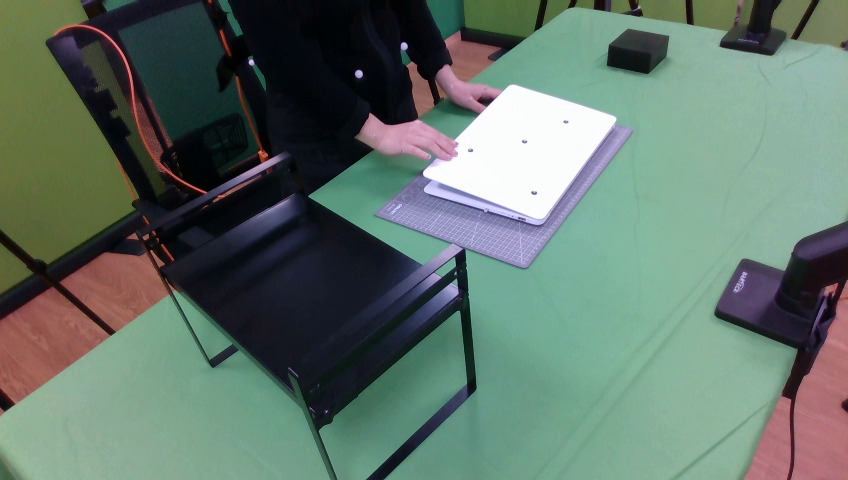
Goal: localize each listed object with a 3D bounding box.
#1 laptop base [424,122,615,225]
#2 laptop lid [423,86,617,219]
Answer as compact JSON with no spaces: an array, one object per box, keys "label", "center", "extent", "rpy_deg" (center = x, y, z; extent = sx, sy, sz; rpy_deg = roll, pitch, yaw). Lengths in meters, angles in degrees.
[{"label":"laptop base","center":[0.187,-0.156,1.131],"extent":[0.234,0.023,0.355],"rpy_deg":[16,46,30]},{"label":"laptop lid","center":[0.185,-0.178,1.112],"extent":[0.240,0.013,0.357],"rpy_deg":[25,50,24]}]
